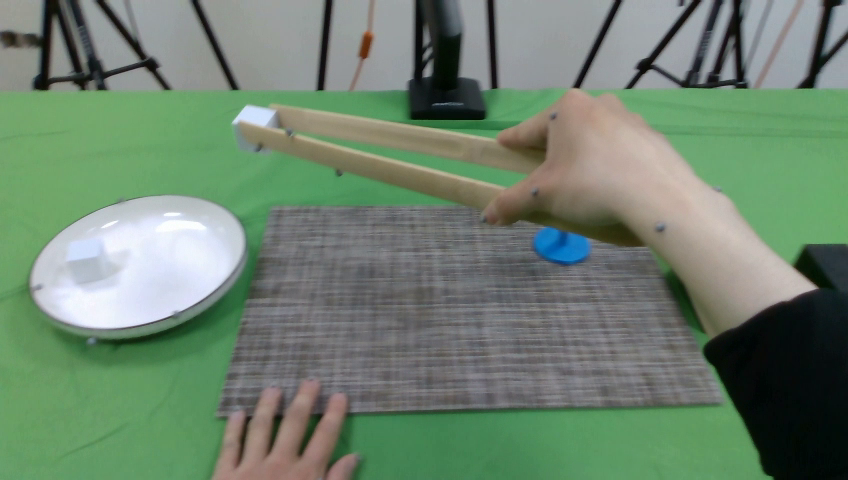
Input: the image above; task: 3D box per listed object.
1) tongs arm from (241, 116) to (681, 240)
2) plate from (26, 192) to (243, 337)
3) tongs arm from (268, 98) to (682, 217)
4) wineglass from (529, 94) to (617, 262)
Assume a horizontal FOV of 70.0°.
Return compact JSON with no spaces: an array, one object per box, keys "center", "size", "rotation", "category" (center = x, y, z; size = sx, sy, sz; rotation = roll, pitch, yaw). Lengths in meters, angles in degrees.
[{"center":[-0.003,-0.063,0.473],"size":[0.381,0.027,0.050],"rotation":[20,48,33],"category":"tongs arm"},{"center":[-0.294,0.024,0.636],"size":[0.209,0.038,0.207],"rotation":[1,41,-1],"category":"plate"},{"center":[0.011,-0.078,0.487],"size":[0.384,0.028,0.028],"rotation":[17,43,30],"category":"tongs arm"},{"center":[0.157,-0.063,0.649],"size":[0.074,0.174,0.073],"rotation":[1,41,-1],"category":"wineglass"}]
